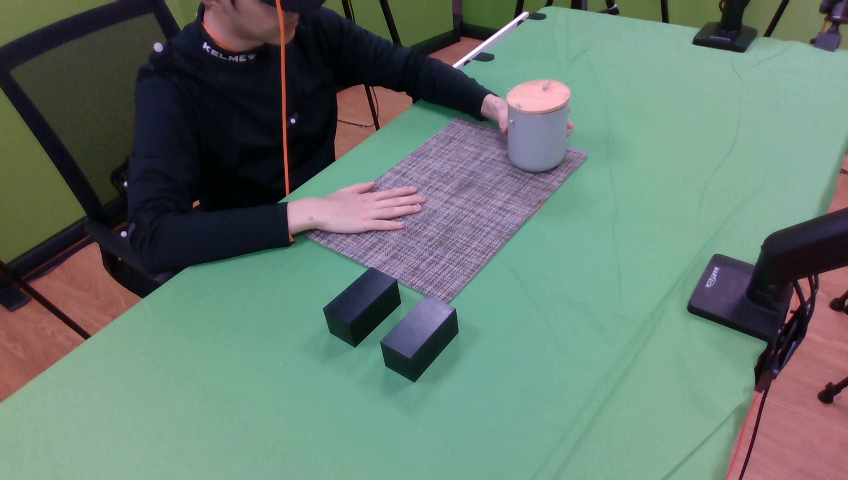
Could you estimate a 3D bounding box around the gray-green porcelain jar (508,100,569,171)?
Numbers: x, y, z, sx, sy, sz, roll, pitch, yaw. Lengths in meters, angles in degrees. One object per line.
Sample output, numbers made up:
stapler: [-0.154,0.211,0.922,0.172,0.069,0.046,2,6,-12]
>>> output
gray-green porcelain jar: [0.203,-0.196,1.081,0.106,0.127,0.105,-4,41,4]

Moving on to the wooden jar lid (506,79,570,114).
wooden jar lid: [0.197,-0.243,1.041,0.108,0.021,0.108,-7,41,6]
